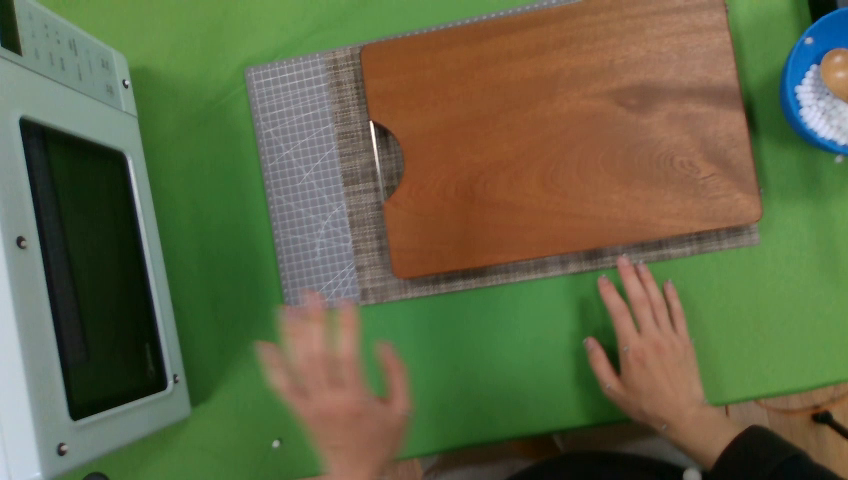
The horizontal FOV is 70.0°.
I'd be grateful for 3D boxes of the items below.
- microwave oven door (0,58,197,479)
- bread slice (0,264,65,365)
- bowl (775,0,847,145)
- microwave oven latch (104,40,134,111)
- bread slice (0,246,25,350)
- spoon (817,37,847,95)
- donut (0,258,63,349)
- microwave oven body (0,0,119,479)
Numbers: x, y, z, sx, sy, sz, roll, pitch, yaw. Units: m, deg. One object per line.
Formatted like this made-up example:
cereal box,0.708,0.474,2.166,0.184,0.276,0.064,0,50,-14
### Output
microwave oven door,-0.329,0.021,0.594,0.039,0.244,0.355,-13,87,5
bread slice,-0.466,0.079,0.665,0.131,0.019,0.105,7,91,2
bowl,0.430,-0.166,0.623,0.151,0.077,0.151,0,89,6
microwave oven latch,-0.364,-0.188,0.704,0.030,0.029,0.079,-14,88,5
bread slice,-0.454,0.067,0.595,0.134,0.018,0.107,-18,88,18
spoon,0.438,-0.119,0.591,0.041,0.022,0.192,-12,64,3
donut,-0.436,0.067,0.640,0.099,0.048,0.099,-1,102,-7
microwave oven body,-0.480,0.013,0.613,0.326,0.260,0.441,-13,88,5
